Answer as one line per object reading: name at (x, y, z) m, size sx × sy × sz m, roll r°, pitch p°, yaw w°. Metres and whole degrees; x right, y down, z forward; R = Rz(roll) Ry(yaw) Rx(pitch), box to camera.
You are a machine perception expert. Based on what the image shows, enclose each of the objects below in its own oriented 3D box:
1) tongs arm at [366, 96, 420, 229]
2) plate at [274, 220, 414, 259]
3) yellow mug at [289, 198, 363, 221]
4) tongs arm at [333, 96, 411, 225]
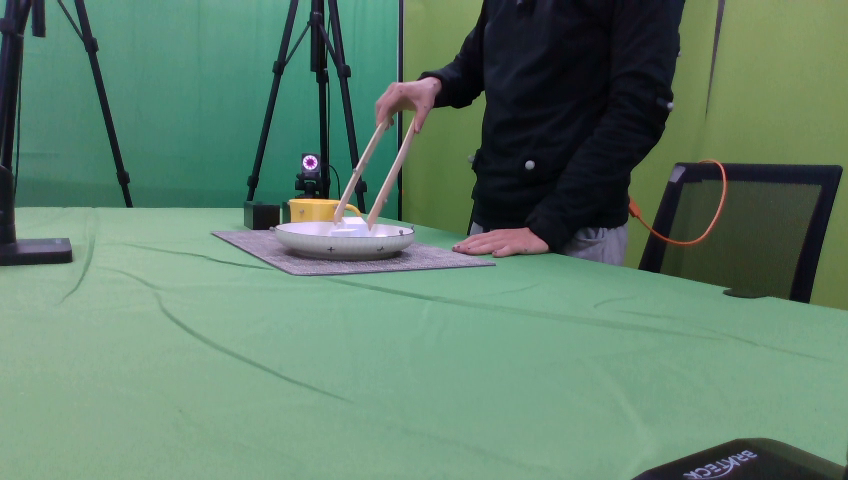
tongs arm at (-0.052, -0.154, 1.093) m, size 0.028 × 0.028 × 0.387 m, roll 2°, pitch 42°, yaw 14°
plate at (-0.118, -0.001, 0.903) m, size 0.208 × 0.039 × 0.207 m, roll 3°, pitch 7°, yaw 0°
yellow mug at (-0.174, -0.039, 1.072) m, size 0.131 × 0.064 × 0.100 m, roll 3°, pitch 7°, yaw 0°
tongs arm at (-0.086, -0.158, 1.099) m, size 0.050 × 0.026 × 0.384 m, roll 4°, pitch 42°, yaw 10°
